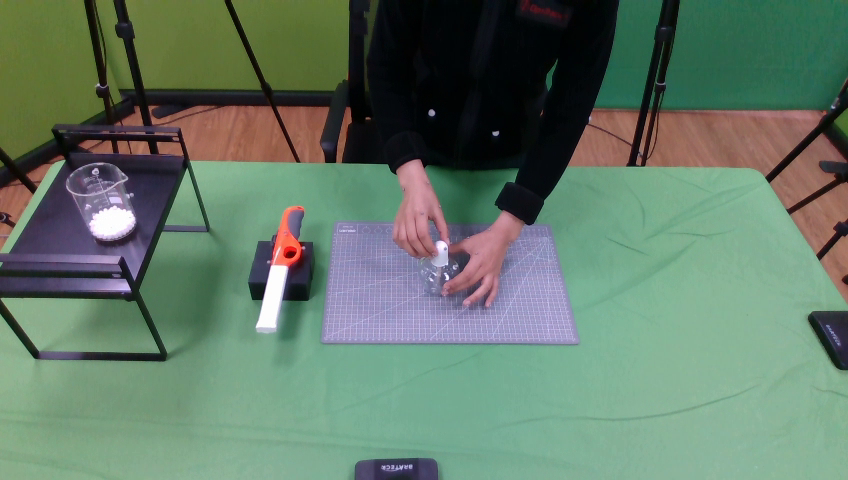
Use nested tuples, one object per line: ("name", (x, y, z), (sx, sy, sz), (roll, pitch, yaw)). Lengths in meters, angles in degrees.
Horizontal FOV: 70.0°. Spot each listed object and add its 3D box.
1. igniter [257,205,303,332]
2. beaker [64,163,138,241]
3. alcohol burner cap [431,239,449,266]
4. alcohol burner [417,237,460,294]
("igniter", (-0.252, 0.040, 1.070), (0.057, 0.025, 0.275), (3, 50, -2))
("beaker", (-0.477, -0.055, 0.910), (0.084, 0.101, 0.073), (-9, 48, -13))
("alcohol burner cap", (0.029, 0.019, 1.068), (0.034, 0.048, 0.033), (1, 47, -1))
("alcohol burner", (0.026, 0.042, 1.089), (0.078, 0.120, 0.077), (0, 46, 0))
